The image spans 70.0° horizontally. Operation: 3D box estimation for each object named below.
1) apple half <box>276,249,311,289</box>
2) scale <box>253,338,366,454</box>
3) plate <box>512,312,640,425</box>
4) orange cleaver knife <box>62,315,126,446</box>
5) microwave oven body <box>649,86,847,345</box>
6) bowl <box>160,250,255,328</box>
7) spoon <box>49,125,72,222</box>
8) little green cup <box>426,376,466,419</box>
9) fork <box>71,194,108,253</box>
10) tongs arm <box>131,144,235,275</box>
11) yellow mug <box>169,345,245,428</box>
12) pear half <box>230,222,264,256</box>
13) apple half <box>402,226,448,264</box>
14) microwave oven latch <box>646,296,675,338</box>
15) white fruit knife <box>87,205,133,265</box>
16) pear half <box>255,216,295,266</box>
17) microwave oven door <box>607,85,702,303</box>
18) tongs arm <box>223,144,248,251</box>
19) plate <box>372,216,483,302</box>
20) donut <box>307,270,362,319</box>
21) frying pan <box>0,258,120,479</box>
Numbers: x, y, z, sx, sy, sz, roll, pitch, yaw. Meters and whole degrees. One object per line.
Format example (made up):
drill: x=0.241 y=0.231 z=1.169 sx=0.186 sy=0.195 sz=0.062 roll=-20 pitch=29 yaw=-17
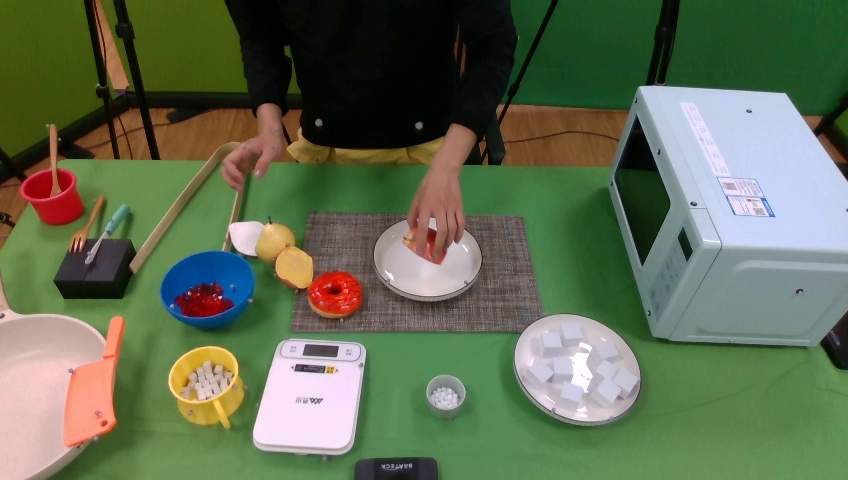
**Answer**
apple half: x=-0.244 y=0.057 z=1.113 sx=0.082 sy=0.033 sz=0.081 roll=39 pitch=32 yaw=-30
scale: x=-0.175 y=0.236 z=0.951 sx=0.149 sy=0.032 sz=0.199 roll=4 pitch=45 yaw=-1
plate: x=0.246 y=0.213 z=0.999 sx=0.208 sy=0.039 sz=0.206 roll=2 pitch=46 yaw=-2
orange cleaver knife: x=-0.480 y=0.199 z=0.887 sx=0.077 sy=0.012 sz=0.210 roll=-9 pitch=47 yaw=-8
microwave oven body: x=0.567 y=-0.053 z=1.118 sx=0.326 sy=0.261 sz=0.439 roll=2 pitch=45 yaw=-1
bowl: x=-0.362 y=0.098 z=1.040 sx=0.151 sy=0.077 sz=0.150 roll=2 pitch=45 yaw=-2
spoon: x=-0.718 y=-0.131 z=1.189 sx=0.041 sy=0.021 sz=0.193 roll=-4 pitch=90 yaw=-7
little green cup: x=0.033 y=0.248 z=0.950 sx=0.061 sy=0.039 sz=0.061 roll=2 pitch=46 yaw=-2
fork: x=-0.634 y=-0.036 z=1.158 sx=0.028 sy=0.019 sz=0.206 roll=-8 pitch=32 yaw=-8
tongs arm: x=-0.484 y=-0.075 z=1.236 sx=0.028 sy=0.028 sz=0.385 roll=5 pitch=45 yaw=14
yellow mug: x=-0.322 y=0.230 z=0.922 sx=0.100 sy=0.064 sz=0.130 roll=-24 pitch=53 yaw=-25
pear half: x=-0.333 y=0.000 z=1.167 sx=0.088 sy=0.031 sz=0.070 roll=31 pitch=52 yaw=4
apple half: x=0.008 y=0.005 z=1.078 sx=0.075 sy=0.053 sz=0.080 roll=29 pitch=1 yaw=-20
microwave oven latch: x=0.412 y=0.134 z=1.061 sx=0.030 sy=0.029 sz=0.078 roll=4 pitch=45 yaw=1
white fruit knife: x=-0.584 y=-0.013 z=1.129 sx=0.016 sy=0.027 sz=0.206 roll=-1 pitch=32 yaw=-4
pear half: x=-0.269 y=0.001 z=1.117 sx=0.056 sy=0.110 sz=0.076 roll=25 pitch=54 yaw=19
microwave oven door: x=0.423 y=-0.094 z=1.140 sx=0.039 sy=0.245 sz=0.353 roll=2 pitch=46 yaw=-1
tongs arm: x=-0.398 y=-0.073 z=1.232 sx=0.051 sy=0.027 sz=0.382 roll=-3 pitch=45 yaw=1
plate: x=0.006 y=0.038 z=1.145 sx=0.209 sy=0.038 sz=0.208 roll=2 pitch=46 yaw=-2
donut: x=-0.158 y=0.097 z=1.073 sx=0.099 sy=0.048 sz=0.098 roll=4 pitch=45 yaw=-4
frying pan: x=-0.647 y=0.164 z=0.936 sx=0.307 sy=0.103 sz=0.485 roll=-19 pitch=58 yaw=-22
